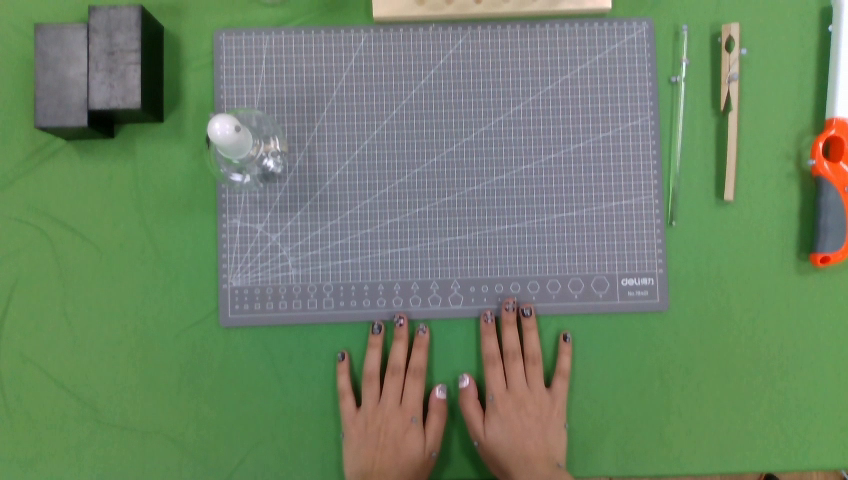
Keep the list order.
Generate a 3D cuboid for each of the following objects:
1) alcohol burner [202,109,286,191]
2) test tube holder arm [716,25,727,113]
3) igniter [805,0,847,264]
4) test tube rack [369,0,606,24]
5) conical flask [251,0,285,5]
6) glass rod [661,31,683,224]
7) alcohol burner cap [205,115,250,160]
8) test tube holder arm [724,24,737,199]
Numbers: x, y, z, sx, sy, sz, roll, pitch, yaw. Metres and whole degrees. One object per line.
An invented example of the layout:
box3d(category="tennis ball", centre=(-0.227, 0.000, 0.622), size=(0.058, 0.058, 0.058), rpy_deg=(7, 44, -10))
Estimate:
box3d(category="alcohol burner", centre=(-0.171, -0.087, 0.557), size=(0.078, 0.119, 0.078), rpy_deg=(0, 86, 2))
box3d(category="test tube holder arm", centre=(0.306, -0.175, 0.622), size=(0.010, 0.015, 0.087), rpy_deg=(-1, 87, 36))
box3d(category="igniter", centre=(0.417, -0.112, 0.614), size=(0.057, 0.025, 0.276), rpy_deg=(7, 87, -11))
box3d(category="test tube rack", centre=(0.065, -0.264, 0.587), size=(0.242, 0.085, 0.066), rpy_deg=(-3, 87, -1))
box3d(category="conical flask", centre=(-0.158, -0.280, 0.566), size=(0.075, 0.122, 0.075), rpy_deg=(0, 87, -1))
box3d(category="glass rod", centre=(0.255, -0.115, 0.621), size=(0.008, 0.008, 0.199), rpy_deg=(5, 89, -1))
box3d(category="alcohol burner cap", centre=(-0.171, -0.091, 0.521), size=(0.034, 0.048, 0.034), rpy_deg=(1, 82, -5))
box3d(category="test tube holder arm", centre=(0.311, -0.130, 0.616), size=(0.013, 0.015, 0.178), rpy_deg=(-3, 86, 35))
